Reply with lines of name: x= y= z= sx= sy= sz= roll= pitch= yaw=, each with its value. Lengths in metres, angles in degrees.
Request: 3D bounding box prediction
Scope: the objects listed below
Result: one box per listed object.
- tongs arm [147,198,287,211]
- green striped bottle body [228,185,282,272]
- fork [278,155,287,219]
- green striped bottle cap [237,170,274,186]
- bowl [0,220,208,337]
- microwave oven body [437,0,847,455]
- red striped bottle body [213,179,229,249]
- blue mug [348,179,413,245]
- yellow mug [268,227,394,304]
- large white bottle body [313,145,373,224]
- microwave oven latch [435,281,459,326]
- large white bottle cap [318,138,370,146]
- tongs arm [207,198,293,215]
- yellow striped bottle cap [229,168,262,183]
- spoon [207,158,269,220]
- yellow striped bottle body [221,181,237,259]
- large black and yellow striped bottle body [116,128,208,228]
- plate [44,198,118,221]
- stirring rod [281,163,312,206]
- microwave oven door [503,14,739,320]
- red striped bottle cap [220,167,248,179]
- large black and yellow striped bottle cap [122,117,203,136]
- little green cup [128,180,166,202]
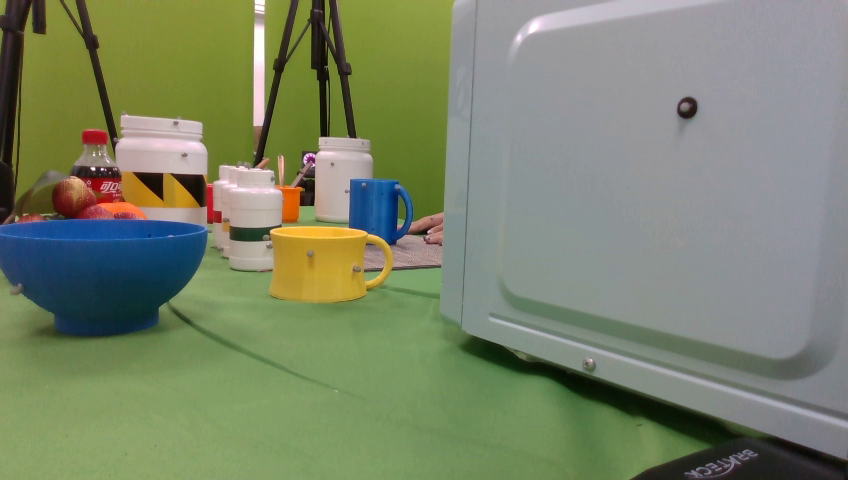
tongs arm: x=-0.504 y=-0.091 z=1.513 sx=0.028 sy=0.028 sz=0.389 roll=0 pitch=4 yaw=37
green striped bottle body: x=-0.208 y=-0.023 z=0.745 sx=0.063 sy=0.119 sz=0.063 roll=2 pitch=7 yaw=0
fork: x=-0.318 y=-0.120 z=1.342 sx=0.028 sy=0.018 sz=0.206 roll=0 pitch=52 yaw=-13
green striped bottle cap: x=-0.205 y=-0.075 z=0.737 sx=0.044 sy=0.020 sz=0.044 roll=1 pitch=6 yaw=0
bowl: x=-0.251 y=0.029 z=0.479 sx=0.151 sy=0.077 sz=0.151 roll=2 pitch=7 yaw=0
microwave oven body: x=0.279 y=-0.040 z=0.464 sx=0.444 sy=0.260 sz=0.324 roll=-3 pitch=8 yaw=-41
red striped bottle body: x=-0.284 y=-0.048 z=0.909 sx=0.063 sy=0.119 sz=0.063 roll=3 pitch=10 yaw=0
blue mug: x=-0.071 y=-0.047 z=1.002 sx=0.116 sy=0.106 sz=0.082 roll=7 pitch=9 yaw=26
yellow mug: x=-0.094 y=0.023 z=0.630 sx=0.131 sy=0.064 sz=0.099 roll=0 pitch=8 yaw=-22
large white bottle body: x=-0.182 y=-0.134 z=1.362 sx=0.131 sy=0.184 sz=0.130 roll=3 pitch=7 yaw=0
microwave oven latch: x=0.044 y=0.046 z=0.470 sx=0.079 sy=0.029 sz=0.030 roll=-3 pitch=8 yaw=-40
large white bottle cap: x=-0.179 y=-0.218 z=1.351 sx=0.115 sy=0.018 sz=0.115 roll=2 pitch=8 yaw=0
tongs arm: x=-0.423 y=-0.084 z=1.472 sx=0.050 sy=0.026 sz=0.386 roll=2 pitch=6 yaw=21
yellow striped bottle cap: x=-0.240 y=-0.087 z=0.816 sx=0.044 sy=0.018 sz=0.044 roll=-2 pitch=5 yaw=1
spoon: x=-0.380 y=-0.108 z=1.251 sx=0.041 sy=0.022 sz=0.194 roll=4 pitch=51 yaw=39
yellow striped bottle body: x=-0.244 y=-0.036 z=0.823 sx=0.063 sy=0.120 sz=0.063 roll=2 pitch=8 yaw=0
large black and yellow striped bottle body: x=-0.404 y=-0.089 z=0.937 sx=0.131 sy=0.184 sz=0.130 roll=3 pitch=7 yaw=0
plate: x=-0.617 y=-0.056 z=1.179 sx=0.209 sy=0.038 sz=0.209 roll=3 pitch=7 yaw=0
stirring rod: x=-0.292 y=-0.111 z=1.324 sx=0.014 sy=0.006 sz=0.176 roll=2 pitch=47 yaw=29
microwave oven door: x=0.218 y=-0.065 z=0.601 sx=0.358 sy=0.243 sz=0.039 roll=-4 pitch=10 yaw=-41
red striped bottle cap: x=-0.281 y=-0.099 z=0.901 sx=0.044 sy=0.017 sz=0.044 roll=-1 pitch=4 yaw=0
large black and yellow striped bottle cap: x=-0.399 y=-0.174 z=0.927 sx=0.115 sy=0.019 sz=0.115 roll=5 pitch=9 yaw=-1
little green cup: x=-0.485 y=-0.087 z=1.062 sx=0.061 sy=0.038 sz=0.061 roll=-1 pitch=6 yaw=0
